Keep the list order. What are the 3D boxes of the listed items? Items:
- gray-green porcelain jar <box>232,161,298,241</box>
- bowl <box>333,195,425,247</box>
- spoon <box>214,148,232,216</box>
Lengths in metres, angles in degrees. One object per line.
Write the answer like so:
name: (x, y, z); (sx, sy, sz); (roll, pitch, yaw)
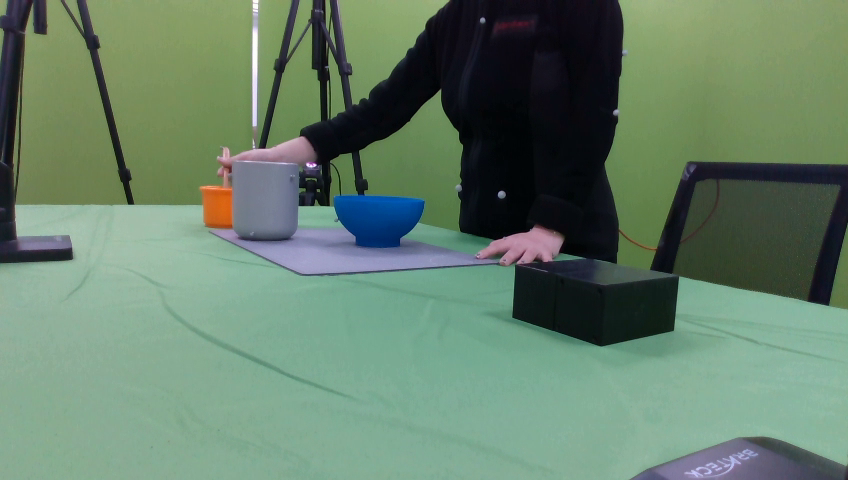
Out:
gray-green porcelain jar: (-0.262, -0.065, 0.999); (0.106, 0.126, 0.106); (3, 7, 0)
bowl: (-0.074, -0.031, 0.987); (0.151, 0.077, 0.151); (2, 7, 0)
spoon: (-0.391, -0.118, 1.198); (0.042, 0.193, 0.021); (-1, -36, -15)
